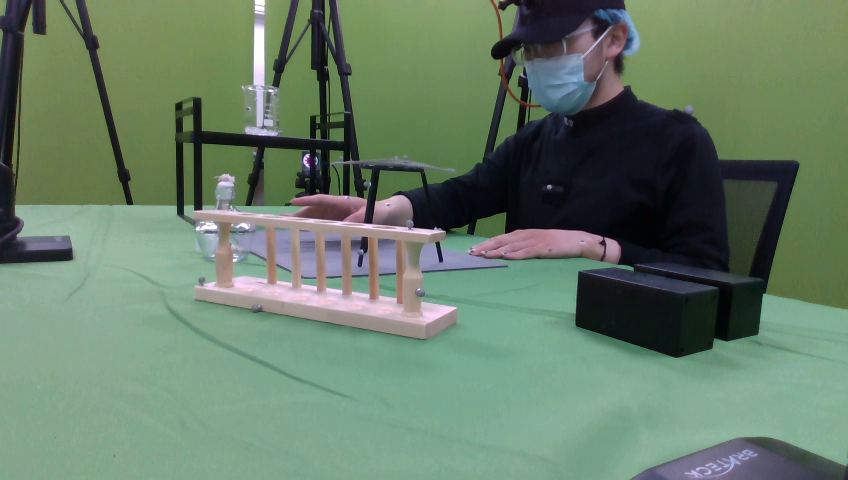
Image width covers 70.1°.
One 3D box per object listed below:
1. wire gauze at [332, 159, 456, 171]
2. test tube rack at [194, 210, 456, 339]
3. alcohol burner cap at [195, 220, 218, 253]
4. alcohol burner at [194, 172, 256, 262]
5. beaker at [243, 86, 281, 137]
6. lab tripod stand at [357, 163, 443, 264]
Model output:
[{"bbox_3d":[-0.042,-0.104,0.819,0.126,0.011,0.121,-3,9,-44],"label":"wire gauze"},{"bbox_3d":[-0.093,0.023,0.545,0.241,0.085,0.067,6,8,25],"label":"test tube rack"},{"bbox_3d":[-0.316,-0.007,0.882,0.034,0.048,0.034,4,8,0],"label":"alcohol burner cap"},{"bbox_3d":[-0.264,-0.030,0.801,0.078,0.119,0.078,0,8,0],"label":"alcohol burner"},{"bbox_3d":[-0.338,-0.265,1.252,0.073,0.100,0.084,8,9,38],"label":"beaker"},{"bbox_3d":[-0.044,-0.038,0.830,0.148,0.131,0.148,4,6,0],"label":"lab tripod stand"}]
